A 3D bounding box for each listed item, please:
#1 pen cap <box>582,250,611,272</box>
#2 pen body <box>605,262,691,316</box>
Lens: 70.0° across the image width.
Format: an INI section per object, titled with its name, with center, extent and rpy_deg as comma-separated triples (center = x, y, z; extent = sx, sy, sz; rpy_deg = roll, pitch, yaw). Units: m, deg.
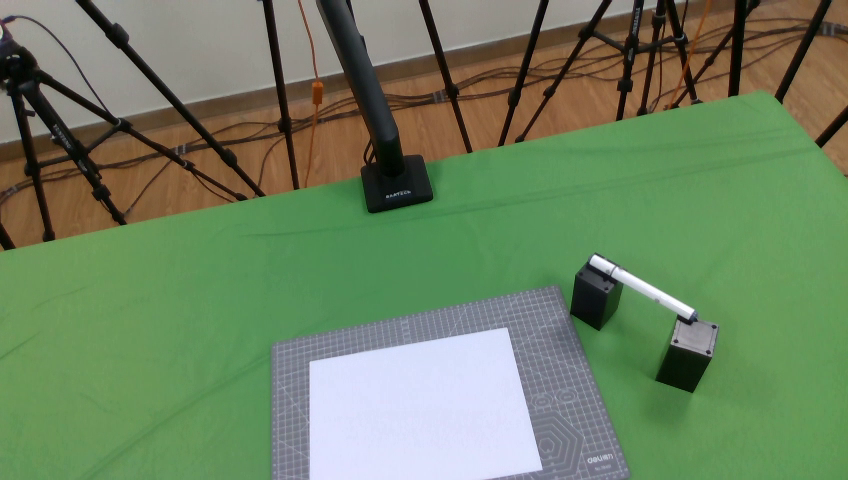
[pen cap]
center = 0.235, 0.028, 0.825
extent = 0.038, 0.017, 0.017
rpy_deg = 32, 63, 28
[pen body]
center = 0.281, 0.057, 0.797
extent = 0.143, 0.017, 0.017
rpy_deg = 33, 63, 28
